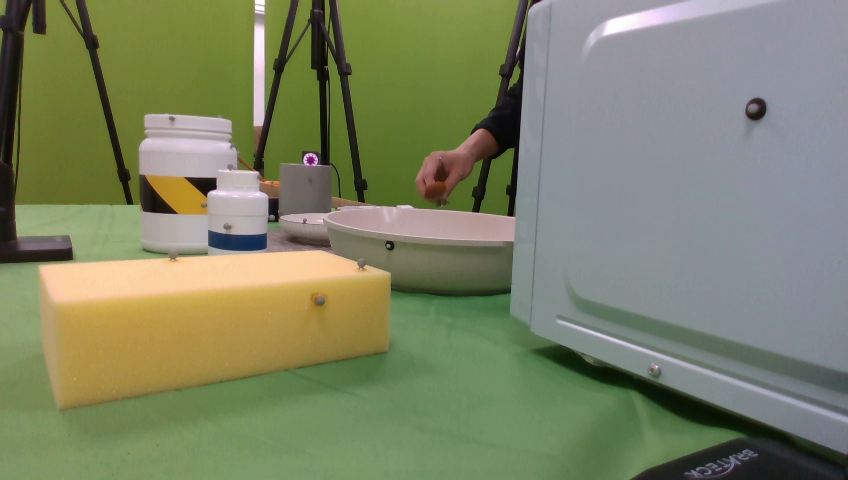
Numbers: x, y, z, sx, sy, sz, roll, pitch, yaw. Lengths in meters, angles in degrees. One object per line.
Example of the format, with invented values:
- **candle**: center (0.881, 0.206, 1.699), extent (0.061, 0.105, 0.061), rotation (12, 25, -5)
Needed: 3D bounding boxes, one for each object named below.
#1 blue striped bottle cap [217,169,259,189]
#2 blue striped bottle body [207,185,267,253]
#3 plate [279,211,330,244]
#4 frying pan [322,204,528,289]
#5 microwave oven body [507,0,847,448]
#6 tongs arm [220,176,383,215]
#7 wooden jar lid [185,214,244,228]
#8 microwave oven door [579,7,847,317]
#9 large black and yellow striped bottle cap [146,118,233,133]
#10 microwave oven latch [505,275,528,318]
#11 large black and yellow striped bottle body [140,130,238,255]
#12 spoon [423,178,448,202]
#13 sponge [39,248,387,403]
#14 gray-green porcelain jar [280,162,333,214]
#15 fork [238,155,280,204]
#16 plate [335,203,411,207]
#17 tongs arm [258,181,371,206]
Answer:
- **blue striped bottle cap**: center (-0.202, -0.067, 0.656), extent (0.044, 0.020, 0.044), rotation (0, 10, 0)
- **blue striped bottle body**: center (-0.204, -0.016, 0.663), extent (0.063, 0.120, 0.063), rotation (2, 7, 0)
- **plate**: center (-0.139, -0.022, 1.021), extent (0.209, 0.038, 0.209), rotation (2, 8, 0)
- **frying pan**: center (0.109, -0.018, 0.800), extent (0.490, 0.102, 0.305), rotation (-12, 16, -30)
- **microwave oven body**: center (0.331, -0.042, 0.425), extent (0.444, 0.260, 0.324), rotation (-2, 8, -31)
- **tongs arm**: center (-0.285, -0.104, 1.445), extent (0.389, 0.027, 0.028), rotation (9, -4, -23)
- **wooden jar lid**: center (-0.404, -0.037, 1.169), extent (0.108, 0.020, 0.108), rotation (3, 7, 0)
- **microwave oven door**: center (0.294, -0.067, 0.570), extent (0.358, 0.243, 0.039), rotation (-3, 9, -31)
- **large black and yellow striped bottle cap**: center (-0.333, -0.163, 0.861), extent (0.115, 0.019, 0.115), rotation (1, 9, 0)
- **microwave oven latch**: center (0.100, 0.042, 0.472), extent (0.079, 0.029, 0.030), rotation (-2, 8, -30)
- **large black and yellow striped bottle body**: center (-0.336, -0.078, 0.871), extent (0.131, 0.184, 0.130), rotation (2, 8, 0)
- **spoon**: center (0.028, -0.083, 1.041), extent (0.041, 0.021, 0.194), rotation (-27, -4, 6)
- **sponge**: center (-0.142, 0.047, 0.420), extent (0.208, 0.061, 0.117), rotation (-3, 8, -37)
- **gray-green porcelain jar**: center (-0.238, -0.092, 1.221), extent (0.106, 0.126, 0.106), rotation (2, 7, 0)
- **fork**: center (-0.396, -0.143, 1.486), extent (0.028, 0.018, 0.208), rotation (19, -26, 44)
- **plate**: center (-0.089, -0.053, 1.309), extent (0.208, 0.039, 0.207), rotation (2, 8, 0)
- **tongs arm**: center (-0.241, -0.095, 1.373), extent (0.387, 0.026, 0.050), rotation (9, 0, -37)
